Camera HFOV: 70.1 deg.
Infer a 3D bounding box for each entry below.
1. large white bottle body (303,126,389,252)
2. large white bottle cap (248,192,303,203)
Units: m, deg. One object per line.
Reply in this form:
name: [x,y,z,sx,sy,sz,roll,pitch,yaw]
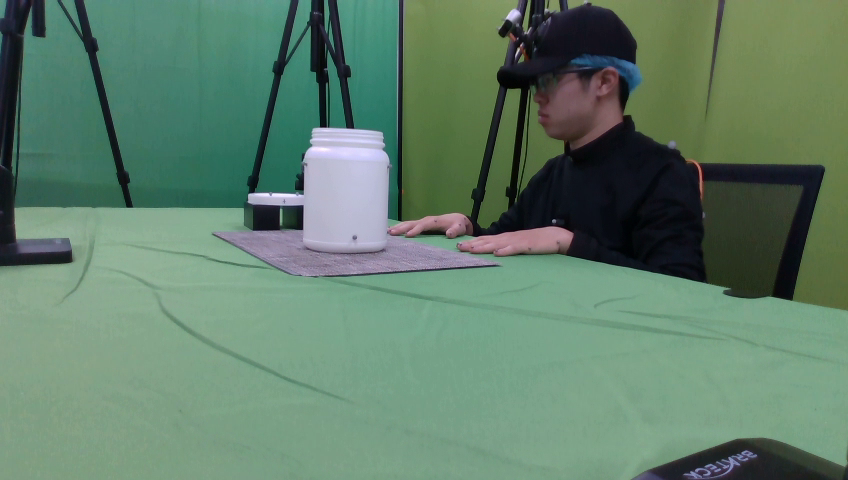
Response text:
large white bottle body: [-0.120,-0.079,0.936,0.131,0.184,0.130,2,7,0]
large white bottle cap: [-0.294,-0.084,1.213,0.115,0.018,0.115,2,7,0]
